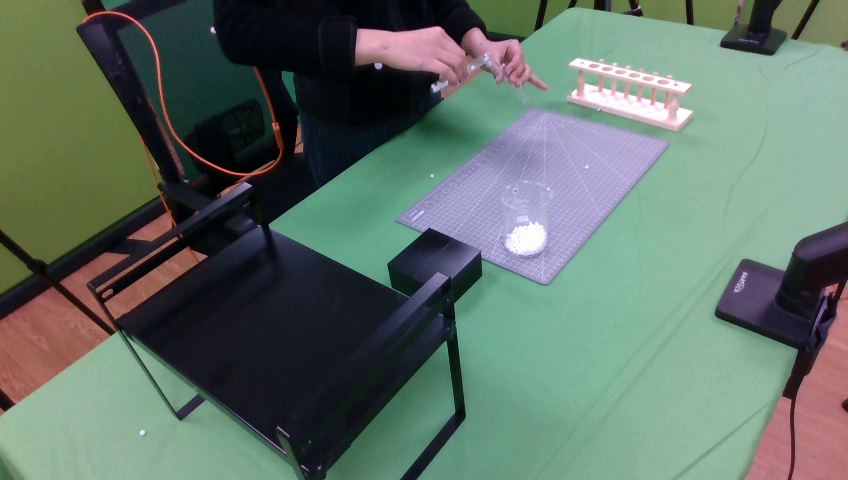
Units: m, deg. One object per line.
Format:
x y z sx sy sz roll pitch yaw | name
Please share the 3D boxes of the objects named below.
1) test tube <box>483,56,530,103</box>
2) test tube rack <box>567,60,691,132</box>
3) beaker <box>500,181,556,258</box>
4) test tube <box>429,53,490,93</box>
0.152 -0.288 1.096 0.017 0.151 0.017 -15 63 33 | test tube
0.411 -0.299 1.217 0.240 0.085 0.067 26 51 34 | test tube rack
0.159 -0.030 0.922 0.084 0.100 0.073 -13 41 -8 | beaker
0.060 -0.276 0.998 0.017 0.017 0.151 26 48 33 | test tube
